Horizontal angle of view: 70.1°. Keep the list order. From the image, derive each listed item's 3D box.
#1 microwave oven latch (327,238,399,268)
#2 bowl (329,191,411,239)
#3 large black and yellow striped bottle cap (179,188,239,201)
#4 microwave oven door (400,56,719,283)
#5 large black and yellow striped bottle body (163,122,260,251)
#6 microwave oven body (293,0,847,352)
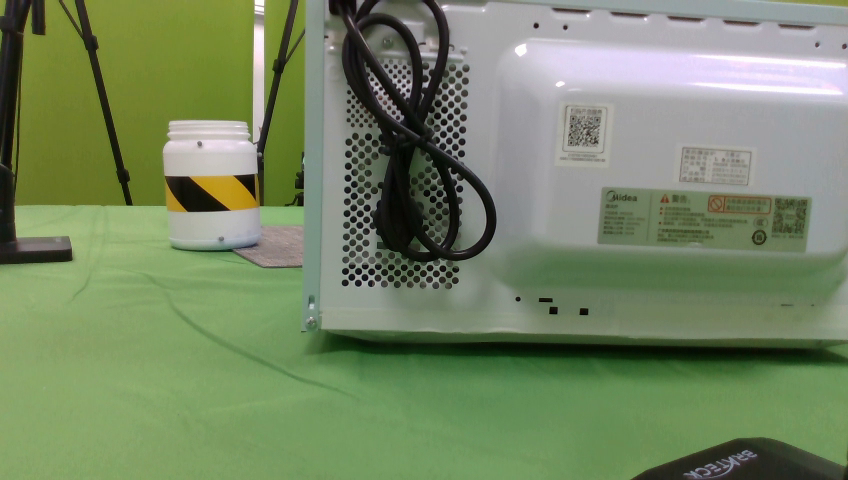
[{"bbox_3d":[-0.069,0.015,0.694,0.079,0.029,0.030,3,7,-3],"label":"microwave oven latch"},{"bbox_3d":[-0.099,-0.046,1.104,0.151,0.077,0.151,3,8,0],"label":"bowl"},{"bbox_3d":[-0.434,-0.093,1.226,0.115,0.019,0.115,3,9,0],"label":"large black and yellow striped bottle cap"},{"bbox_3d":[0.155,-0.078,0.698,0.356,0.243,0.039,2,8,-5],"label":"microwave oven door"},{"bbox_3d":[-0.317,-0.083,0.907,0.131,0.184,0.130,0,9,0],"label":"large black and yellow striped bottle body"},{"bbox_3d":[0.122,-0.055,0.550,0.442,0.260,0.325,3,7,-5],"label":"microwave oven body"}]
